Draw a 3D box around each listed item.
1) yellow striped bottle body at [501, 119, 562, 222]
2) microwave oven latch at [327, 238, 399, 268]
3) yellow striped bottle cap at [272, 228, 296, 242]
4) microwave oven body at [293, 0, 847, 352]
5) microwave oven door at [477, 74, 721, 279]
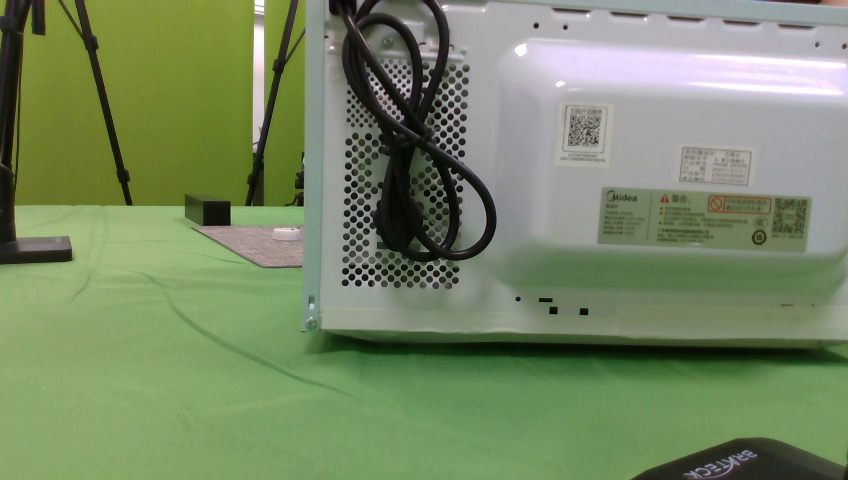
[{"bbox_3d":[0.132,-0.085,0.739,0.063,0.120,0.063,7,8,-1],"label":"yellow striped bottle body"},{"bbox_3d":[-0.069,0.015,0.694,0.079,0.029,0.030,3,7,-3],"label":"microwave oven latch"},{"bbox_3d":[-0.232,-0.008,1.012,0.044,0.018,0.044,4,8,0],"label":"yellow striped bottle cap"},{"bbox_3d":[0.122,-0.055,0.551,0.442,0.260,0.325,3,7,-5],"label":"microwave oven body"},{"bbox_3d":[0.217,-0.095,0.839,0.039,0.243,0.354,-4,10,-40],"label":"microwave oven door"}]
